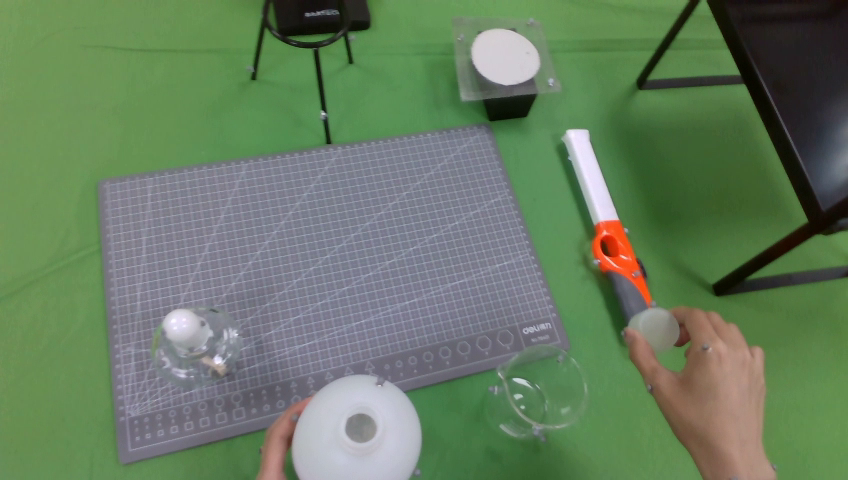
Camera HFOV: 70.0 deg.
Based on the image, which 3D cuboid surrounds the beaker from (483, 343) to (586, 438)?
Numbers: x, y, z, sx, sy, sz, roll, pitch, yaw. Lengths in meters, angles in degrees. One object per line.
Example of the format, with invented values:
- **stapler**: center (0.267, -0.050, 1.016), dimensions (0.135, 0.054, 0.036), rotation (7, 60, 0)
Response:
- **beaker**: center (0.096, 0.146, 0.574), dimensions (0.084, 0.101, 0.073), rotation (20, 64, 2)

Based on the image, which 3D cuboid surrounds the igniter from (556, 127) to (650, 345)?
- **igniter**: center (0.209, -0.012, 0.703), dimensions (0.057, 0.025, 0.274), rotation (-5, 67, -22)

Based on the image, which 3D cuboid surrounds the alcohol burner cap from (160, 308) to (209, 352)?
- **alcohol burner cap**: center (-0.203, 0.074, 0.508), dimensions (0.034, 0.048, 0.033), rotation (2, 71, -6)

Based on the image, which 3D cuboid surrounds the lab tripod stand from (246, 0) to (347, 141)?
- **lab tripod stand**: center (-0.134, -0.205, 0.679), dimensions (0.149, 0.132, 0.147), rotation (4, 65, -9)

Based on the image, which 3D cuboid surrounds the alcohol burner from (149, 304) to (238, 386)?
- **alcohol burner**: center (-0.208, 0.088, 0.541), dimensions (0.078, 0.120, 0.077), rotation (4, 63, -8)

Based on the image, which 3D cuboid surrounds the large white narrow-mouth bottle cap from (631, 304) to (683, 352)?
- **large white narrow-mouth bottle cap**: center (0.195, 0.074, 0.510), dimensions (0.038, 0.024, 0.037), rotation (3, 64, -7)

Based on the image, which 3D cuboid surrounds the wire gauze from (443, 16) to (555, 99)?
- **wire gauze**: center (0.089, -0.225, 0.738), dimensions (0.122, 0.011, 0.124), rotation (-4, 66, -10)

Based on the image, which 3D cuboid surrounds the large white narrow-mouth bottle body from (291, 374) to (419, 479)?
- **large white narrow-mouth bottle body**: center (-0.056, 0.163, 0.490), dimensions (0.102, 0.196, 0.101), rotation (3, 64, -6)
